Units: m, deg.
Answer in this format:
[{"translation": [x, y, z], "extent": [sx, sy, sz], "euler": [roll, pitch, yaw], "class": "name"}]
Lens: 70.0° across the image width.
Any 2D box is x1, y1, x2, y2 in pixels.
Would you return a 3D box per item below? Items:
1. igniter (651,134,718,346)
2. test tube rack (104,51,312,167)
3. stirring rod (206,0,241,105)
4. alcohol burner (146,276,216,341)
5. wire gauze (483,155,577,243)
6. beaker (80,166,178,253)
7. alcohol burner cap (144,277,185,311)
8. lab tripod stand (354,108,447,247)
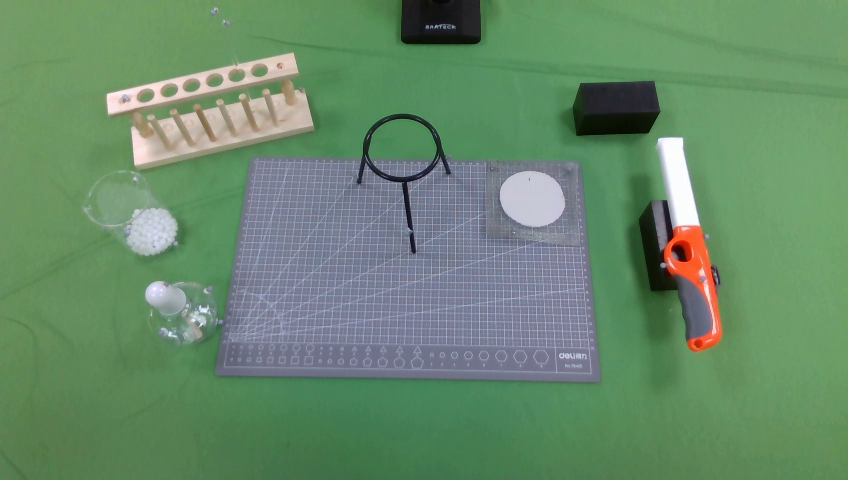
[{"translation": [0.305, -0.009, 0.716], "extent": [0.057, 0.025, 0.274], "euler": [0, 64, 4], "class": "igniter"}, {"translation": [-0.283, -0.174, 0.810], "extent": [0.242, 0.086, 0.066], "euler": [-14, 67, -6], "class": "test tube rack"}, {"translation": [-0.247, -0.236, 0.751], "extent": [0.014, 0.177, 0.005], "euler": [8, 54, 3], "class": "stirring rod"}, {"translation": [-0.282, 0.072, 0.688], "extent": [0.078, 0.120, 0.077], "euler": [0, 64, -1], "class": "alcohol burner"}, {"translation": [0.140, -0.058, 0.797], "extent": [0.125, 0.011, 0.120], "euler": [6, 66, 0], "class": "wire gauze"}, {"translation": [-0.355, -0.032, 0.741], "extent": [0.084, 0.101, 0.073], "euler": [-12, 66, -4], "class": "beaker"}, {"translation": [-0.284, 0.056, 0.655], "extent": [0.034, 0.048, 0.033], "euler": [0, 69, -1], "class": "alcohol burner cap"}, {"translation": [-0.025, -0.082, 0.740], "extent": [0.148, 0.132, 0.147], "euler": [1, 67, -1], "class": "lab tripod stand"}]
